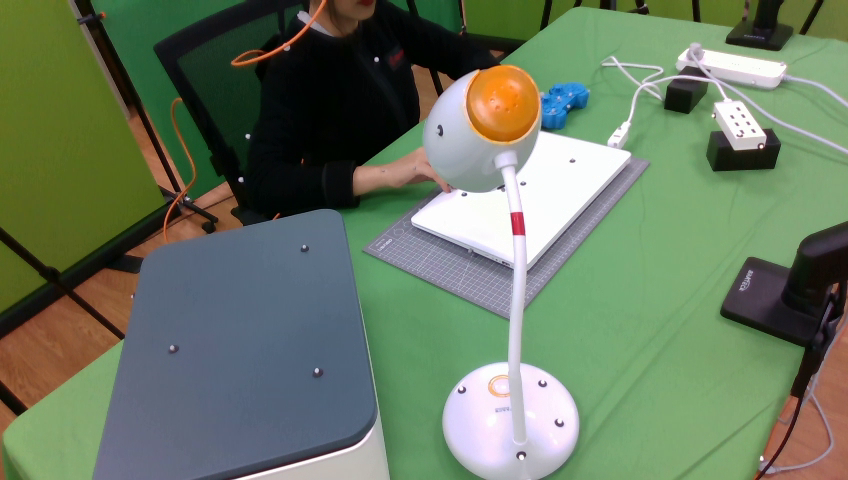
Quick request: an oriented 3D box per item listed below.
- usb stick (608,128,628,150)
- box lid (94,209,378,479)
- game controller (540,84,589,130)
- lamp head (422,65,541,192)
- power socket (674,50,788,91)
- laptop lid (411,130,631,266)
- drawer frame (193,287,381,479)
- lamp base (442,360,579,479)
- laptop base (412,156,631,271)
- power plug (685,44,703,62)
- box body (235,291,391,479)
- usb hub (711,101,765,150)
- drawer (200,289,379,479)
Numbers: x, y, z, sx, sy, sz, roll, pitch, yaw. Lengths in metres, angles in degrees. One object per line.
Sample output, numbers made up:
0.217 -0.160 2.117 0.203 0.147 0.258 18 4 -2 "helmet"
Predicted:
0.353 -0.178 1.110 0.021 0.027 0.059 21 57 30 "usb stick"
-0.202 0.094 0.680 0.264 0.015 0.368 -13 39 -5 "box lid"
0.273 -0.282 1.251 0.096 0.052 0.155 26 51 30 "game controller"
0.060 -0.106 0.560 0.113 0.112 0.122 -16 0 -8 "lamp head"
0.646 -0.363 1.284 0.225 0.033 0.072 25 52 34 "power socket"
0.173 -0.094 1.048 0.239 0.013 0.358 24 50 36 "laptop lid"
-0.172 0.176 0.755 0.202 0.083 0.212 -14 42 -7 "drawer frame"
0.094 0.158 0.657 0.161 0.181 0.178 -13 42 -5 "lamp base"
0.176 -0.084 1.055 0.233 0.023 0.355 21 48 36 "laptop base"
0.568 -0.390 1.294 0.073 0.053 0.035 -33 46 -22 "power plug"
-0.190 0.161 0.723 0.255 0.161 0.361 -13 40 -5 "box body"
0.537 -0.198 1.038 0.049 0.025 0.124 -4 39 8 "usb hub"
-0.172 0.176 0.760 0.195 0.073 0.210 -13 42 -8 "drawer"
